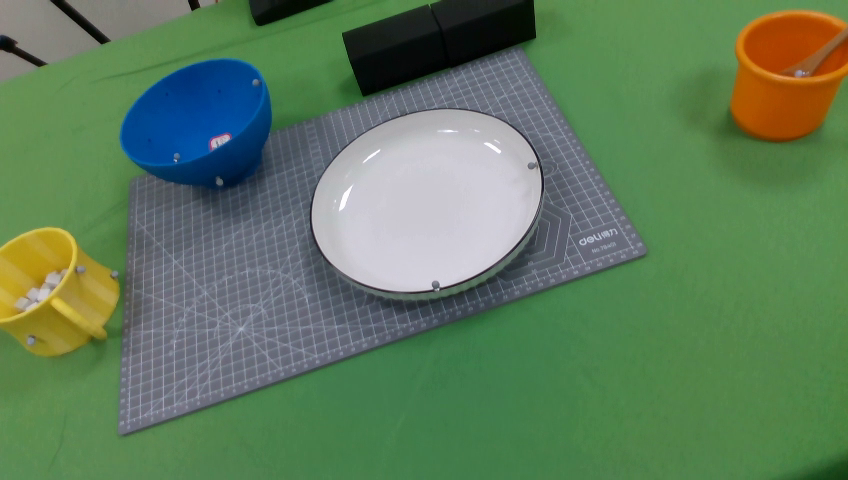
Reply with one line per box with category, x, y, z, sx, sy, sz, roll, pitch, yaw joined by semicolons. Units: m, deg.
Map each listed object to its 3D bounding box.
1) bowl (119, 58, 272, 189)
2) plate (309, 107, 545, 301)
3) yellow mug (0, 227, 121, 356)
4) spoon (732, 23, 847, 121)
bowl;-0.216;-0.105;0.617;0.151;0.077;0.150;-7;54;10
plate;0.002;-0.033;0.535;0.209;0.038;0.207;-6;54;9
yellow mug;-0.329;0.052;0.544;0.130;0.064;0.099;25;64;27
spoon;0.335;-0.163;0.479;0.022;0.194;0.041;13;50;-32
